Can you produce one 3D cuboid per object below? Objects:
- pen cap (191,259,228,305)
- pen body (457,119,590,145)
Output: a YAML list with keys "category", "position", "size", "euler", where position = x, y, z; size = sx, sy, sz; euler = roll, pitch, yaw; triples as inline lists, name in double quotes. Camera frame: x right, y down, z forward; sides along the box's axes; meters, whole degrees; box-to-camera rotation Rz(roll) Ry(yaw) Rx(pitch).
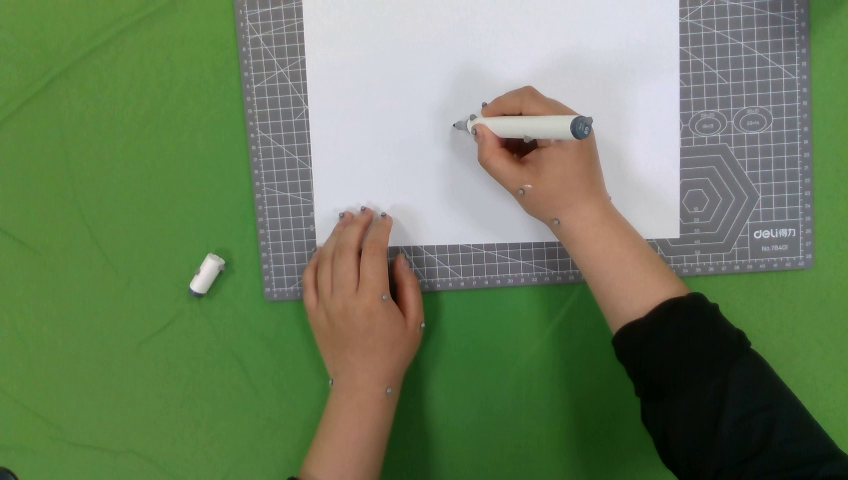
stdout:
- category: "pen cap"
  position: [-0.183, 0.037, 0.515]
  size: [0.017, 0.017, 0.038]
  euler: [34, 96, 2]
- category: "pen body"
  position: [0.063, -0.078, 0.435]
  size: [0.017, 0.143, 0.017]
  euler: [-7, 104, -29]
